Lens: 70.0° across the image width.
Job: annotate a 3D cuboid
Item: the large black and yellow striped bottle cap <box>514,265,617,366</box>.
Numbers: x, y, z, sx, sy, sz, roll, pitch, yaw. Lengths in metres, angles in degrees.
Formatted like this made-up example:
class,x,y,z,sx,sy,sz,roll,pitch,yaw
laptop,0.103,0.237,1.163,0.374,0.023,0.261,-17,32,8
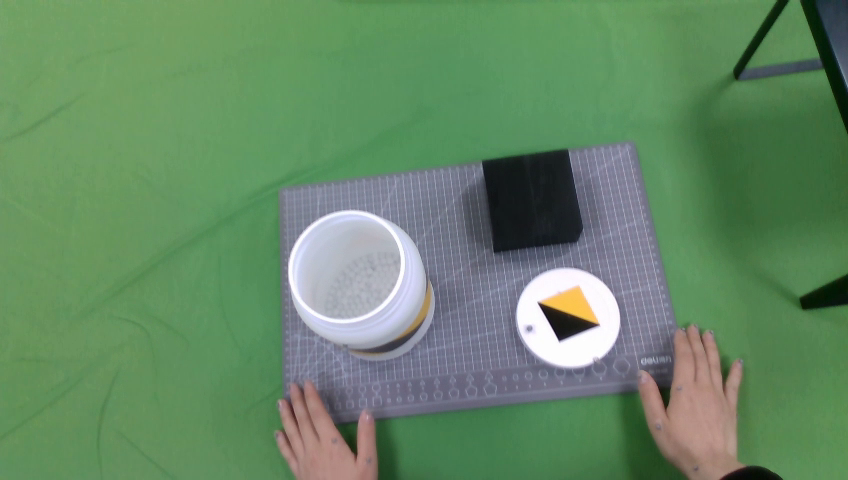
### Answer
class,x,y,z,sx,sy,sz,roll,pitch,yaw
large black and yellow striped bottle cap,0.159,0.084,0.684,0.115,0.019,0.114,-1,72,4

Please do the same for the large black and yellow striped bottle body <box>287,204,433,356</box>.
class,x,y,z,sx,sy,sz,roll,pitch,yaw
large black and yellow striped bottle body,-0.062,0.045,0.629,0.130,0.185,0.130,-1,73,5
